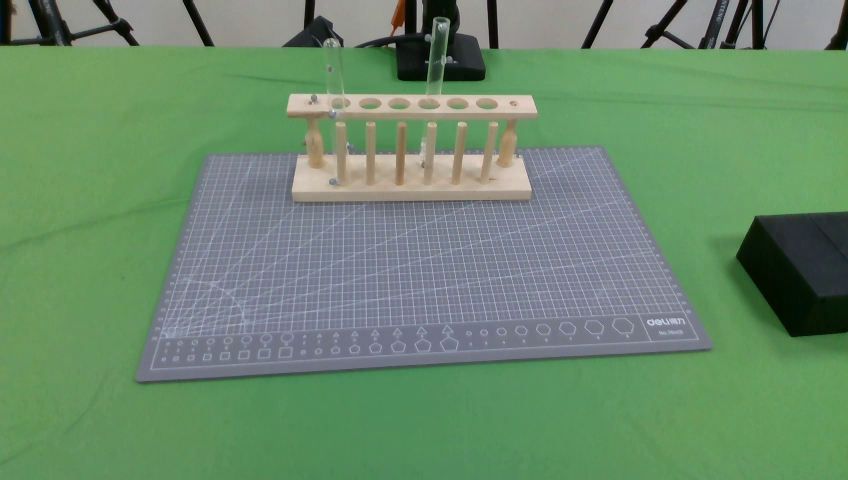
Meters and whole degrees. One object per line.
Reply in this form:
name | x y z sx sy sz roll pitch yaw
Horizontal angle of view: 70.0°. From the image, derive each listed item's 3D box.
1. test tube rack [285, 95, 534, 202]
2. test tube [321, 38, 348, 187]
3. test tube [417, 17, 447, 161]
test tube rack | -0.014 -0.093 0.612 0.243 0.086 0.066 -1 42 -4
test tube | -0.083 -0.114 0.564 0.017 0.152 0.017 1 41 -1
test tube | 0.007 -0.142 0.593 0.017 0.151 0.017 4 40 -3
